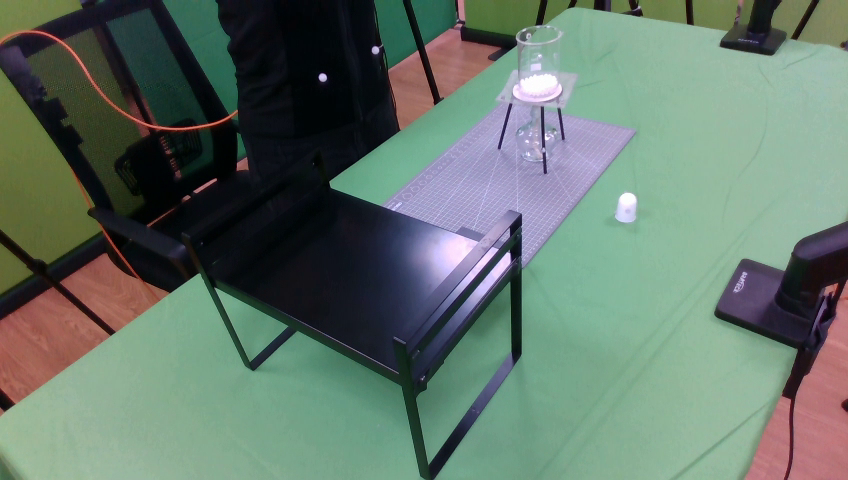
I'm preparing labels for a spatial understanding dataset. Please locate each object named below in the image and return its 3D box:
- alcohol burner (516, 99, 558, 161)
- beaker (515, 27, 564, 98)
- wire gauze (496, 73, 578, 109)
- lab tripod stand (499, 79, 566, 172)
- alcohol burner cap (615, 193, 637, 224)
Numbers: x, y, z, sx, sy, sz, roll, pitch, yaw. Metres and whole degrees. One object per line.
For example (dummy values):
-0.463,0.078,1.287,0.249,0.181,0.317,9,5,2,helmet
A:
0.208,-0.206,1.110,0.078,0.119,0.077,-3,41,3,alcohol burner
0.198,-0.302,1.033,0.084,0.101,0.073,-14,40,-6,beaker
0.200,-0.266,1.066,0.124,0.011,0.121,8,41,23,wire gauze
0.204,-0.215,1.107,0.148,0.132,0.147,-6,41,5,lab tripod stand
0.327,-0.054,0.974,0.034,0.048,0.033,-4,38,4,alcohol burner cap
